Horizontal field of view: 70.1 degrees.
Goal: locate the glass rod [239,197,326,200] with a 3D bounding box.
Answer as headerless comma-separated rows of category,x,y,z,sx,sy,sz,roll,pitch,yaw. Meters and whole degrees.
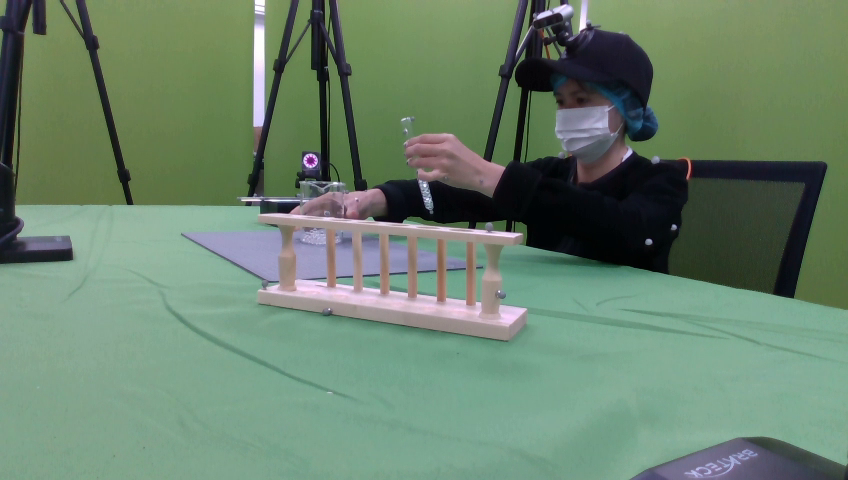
glass rod,-0.288,-0.087,1.250,0.201,0.008,0.008,-4,10,-42

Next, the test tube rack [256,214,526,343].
test tube rack,-0.032,0.027,0.547,0.241,0.085,0.067,5,7,22

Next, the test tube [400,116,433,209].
test tube,-0.011,-0.120,0.948,0.017,0.150,0.017,-15,12,3

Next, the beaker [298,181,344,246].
beaker,-0.166,-0.043,0.971,0.074,0.100,0.084,1,8,-10
